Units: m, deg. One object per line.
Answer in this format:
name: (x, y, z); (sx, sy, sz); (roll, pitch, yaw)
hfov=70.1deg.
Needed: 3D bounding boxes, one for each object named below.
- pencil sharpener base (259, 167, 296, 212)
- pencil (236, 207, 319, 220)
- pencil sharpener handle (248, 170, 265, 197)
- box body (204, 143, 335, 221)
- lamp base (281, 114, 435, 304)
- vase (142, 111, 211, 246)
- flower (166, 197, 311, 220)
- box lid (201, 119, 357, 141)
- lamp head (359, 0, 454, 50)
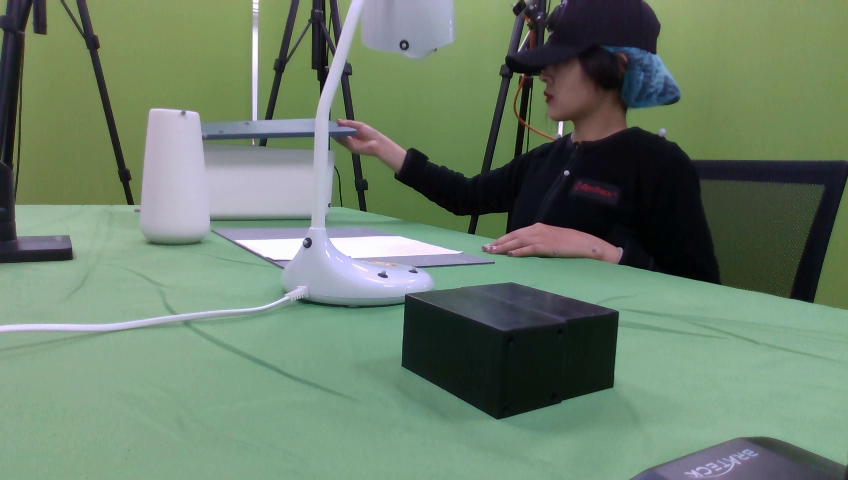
pencil sharpener base: (-0.356, -0.123, 1.468); (0.077, 0.107, 0.061); (-4, 7, -34)
pencil: (-0.346, -0.062, 1.432); (0.194, 0.012, 0.012); (8, 7, -2)
pencil sharpener handle: (-0.402, -0.134, 1.442); (0.031, 0.067, 0.036); (-4, 26, -34)
box body: (-0.412, -0.134, 1.379); (0.366, 0.160, 0.253); (-2, 9, -31)
lamp base: (-0.071, -0.035, 0.614); (0.160, 0.180, 0.180); (6, 10, 27)
vase: (-0.378, -0.093, 0.920); (0.098, 0.200, 0.098); (2, 9, 0)
flower: (-0.397, -0.059, 1.355); (0.044, 0.038, 0.364); (-36, -24, 32)
box lid: (-0.357, -0.245, 1.337); (0.373, 0.015, 0.262); (-8, 19, -27)
lamp head: (-0.024, -0.283, 0.674); (0.112, 0.123, 0.112); (-3, 38, 3)
